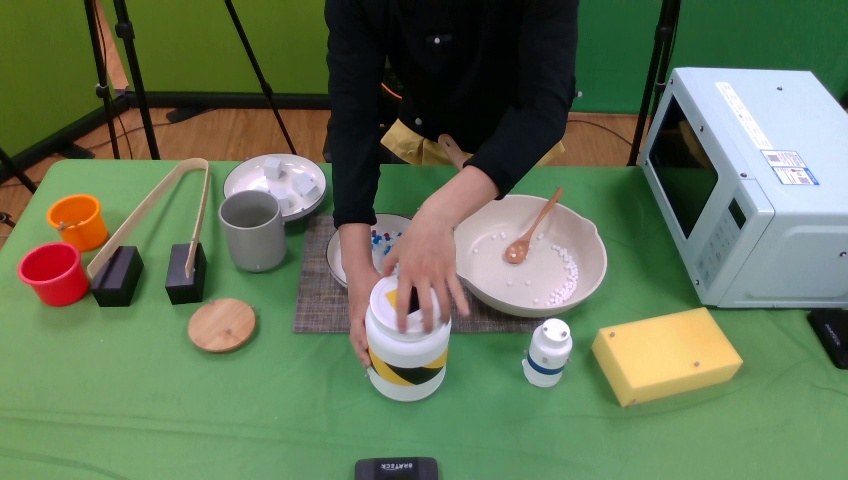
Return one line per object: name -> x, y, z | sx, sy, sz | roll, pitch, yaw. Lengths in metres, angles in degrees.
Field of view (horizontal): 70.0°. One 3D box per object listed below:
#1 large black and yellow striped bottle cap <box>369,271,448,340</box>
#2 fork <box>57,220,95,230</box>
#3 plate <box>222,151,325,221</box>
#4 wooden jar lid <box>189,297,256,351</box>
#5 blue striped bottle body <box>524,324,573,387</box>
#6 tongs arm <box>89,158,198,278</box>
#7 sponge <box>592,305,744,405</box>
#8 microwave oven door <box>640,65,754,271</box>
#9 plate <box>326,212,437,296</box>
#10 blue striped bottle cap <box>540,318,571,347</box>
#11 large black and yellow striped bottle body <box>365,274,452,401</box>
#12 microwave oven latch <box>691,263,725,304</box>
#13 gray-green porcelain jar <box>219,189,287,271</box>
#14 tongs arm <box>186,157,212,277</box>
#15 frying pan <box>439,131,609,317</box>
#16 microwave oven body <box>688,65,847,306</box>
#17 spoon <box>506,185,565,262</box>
large black and yellow striped bottle cap -> -0.022, 0.092, 0.877 | 0.115, 0.019, 0.114 | 1, 46, -1
fork -> -0.624, -0.027, 1.086 | 0.028, 0.207, 0.018 | -3, 92, -17
plate -> -0.310, -0.106, 1.262 | 0.208, 0.039, 0.206 | 2, 47, -2
wooden jar lid -> -0.342, 0.145, 1.033 | 0.108, 0.021, 0.107 | 2, 45, -2
blue striped bottle body -> 0.200, 0.178, 0.970 | 0.063, 0.121, 0.062 | 2, 46, -2
tongs arm -> -0.529, -0.057, 1.164 | 0.028, 0.028, 0.385 | 1, 36, 8
sponge -> 0.405, 0.190, 1.015 | 0.207, 0.061, 0.117 | -10, 48, -13
microwave oven door -> 0.523, -0.147, 1.193 | 0.039, 0.245, 0.353 | 0, 47, -3
plate -> -0.080, 0.030, 1.143 | 0.209, 0.038, 0.208 | 2, 46, -2
blue striped bottle cap -> 0.203, 0.142, 0.933 | 0.044, 0.021, 0.044 | 3, 49, -3
large black and yellow striped bottle body -> -0.025, 0.150, 0.938 | 0.131, 0.185, 0.130 | 2, 47, -2
microwave oven latch -> 0.521, 0.081, 1.116 | 0.030, 0.029, 0.078 | 0, 46, -3
gray-green porcelain jar -> -0.309, -0.014, 1.113 | 0.106, 0.127, 0.105 | 2, 47, -2
tongs arm -> -0.445, -0.058, 1.168 | 0.051, 0.026, 0.382 | -5, 37, -6
frying pan -> 0.149, -0.049, 1.189 | 0.307, 0.103, 0.484 | -17, 58, -20
microwave oven body -> 0.669, -0.111, 1.176 | 0.326, 0.261, 0.439 | 0, 46, -3
spoon -> 0.224, -0.034, 1.188 | 0.041, 0.022, 0.193 | 31, 79, 28
